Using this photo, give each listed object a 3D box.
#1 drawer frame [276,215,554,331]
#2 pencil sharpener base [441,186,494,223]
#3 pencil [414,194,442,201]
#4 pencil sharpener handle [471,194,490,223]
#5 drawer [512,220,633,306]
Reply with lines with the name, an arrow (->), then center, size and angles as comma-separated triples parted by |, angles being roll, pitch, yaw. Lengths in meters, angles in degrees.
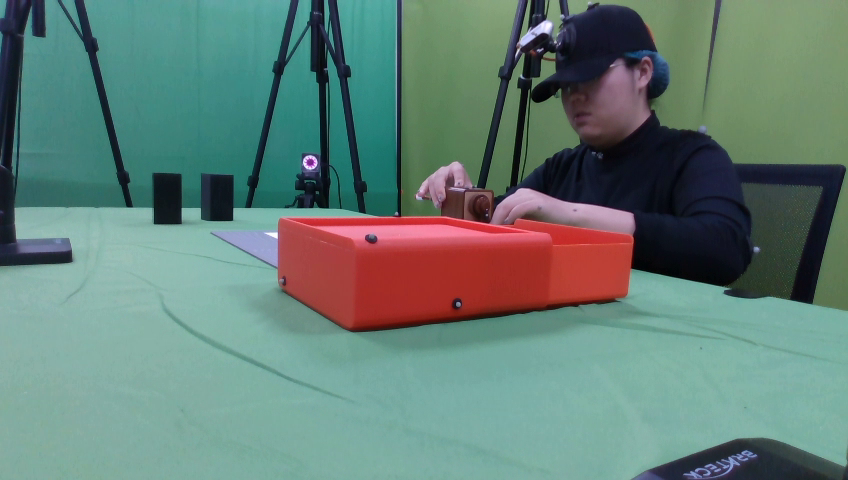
drawer frame -> -0.015, 0.022, 0.610 | 0.215, 0.082, 0.200 | -2, 9, -32
pencil sharpener base -> 0.070, -0.032, 0.989 | 0.061, 0.107, 0.076 | -1, 9, -29
pencil -> 0.032, -0.071, 1.055 | 0.012, 0.012, 0.193 | -1, 7, -30
pencil sharpener handle -> 0.100, -0.038, 0.946 | 0.036, 0.068, 0.030 | -21, 18, -25
drawer -> 0.085, 0.022, 0.674 | 0.213, 0.073, 0.193 | -3, 9, -32
